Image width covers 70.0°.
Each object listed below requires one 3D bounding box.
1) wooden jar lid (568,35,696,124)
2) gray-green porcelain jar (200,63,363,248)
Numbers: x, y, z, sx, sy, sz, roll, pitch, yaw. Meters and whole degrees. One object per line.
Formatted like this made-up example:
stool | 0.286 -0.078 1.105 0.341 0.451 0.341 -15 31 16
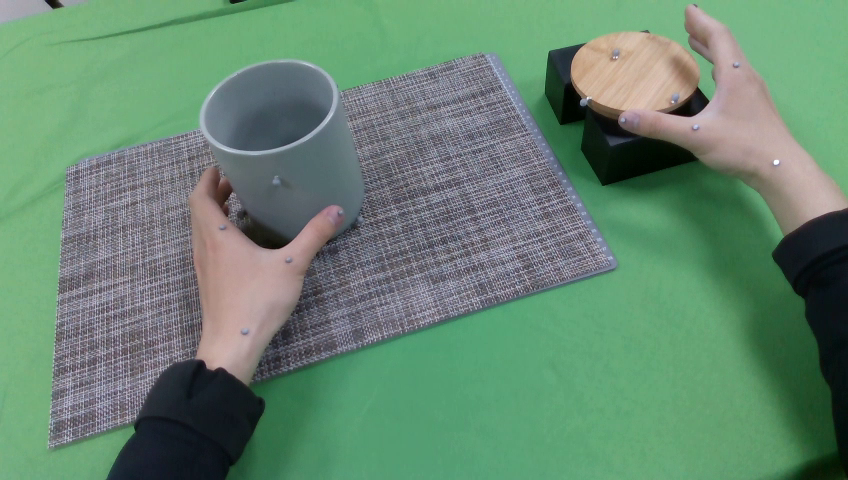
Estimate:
wooden jar lid | 0.182 -0.141 0.535 0.108 0.021 0.107 -3 55 4
gray-green porcelain jar | -0.109 -0.063 0.502 0.106 0.128 0.105 -3 54 5
